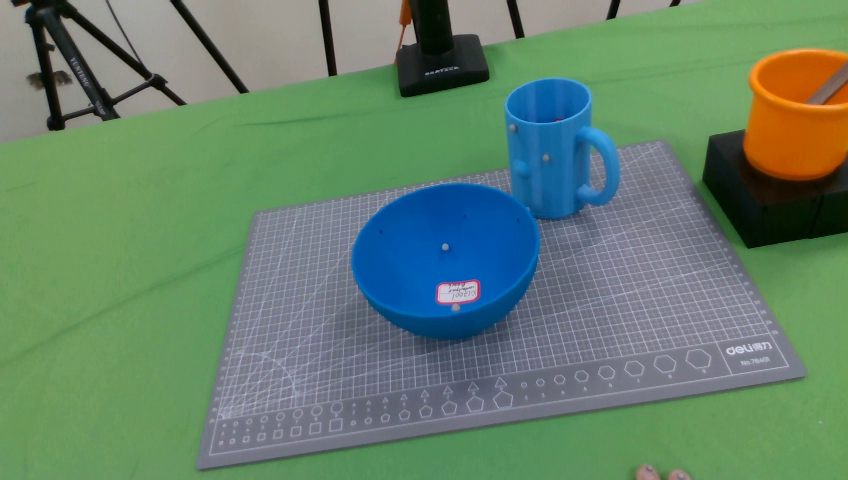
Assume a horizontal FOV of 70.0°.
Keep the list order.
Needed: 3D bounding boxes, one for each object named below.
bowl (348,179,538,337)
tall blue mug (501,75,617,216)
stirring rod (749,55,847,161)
[{"bbox_3d":[0.020,0.027,0.499,0.151,0.077,0.150,-7,43,7],"label":"bowl"},{"bbox_3d":[0.129,-0.085,0.565,0.106,0.109,0.077,8,47,21],"label":"tall blue mug"},{"bbox_3d":[0.328,-0.132,0.475,0.176,0.006,0.014,-51,40,22],"label":"stirring rod"}]
